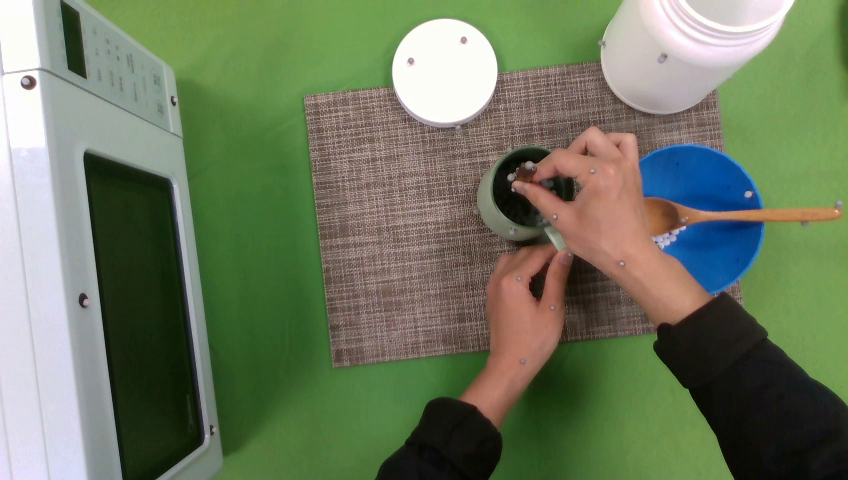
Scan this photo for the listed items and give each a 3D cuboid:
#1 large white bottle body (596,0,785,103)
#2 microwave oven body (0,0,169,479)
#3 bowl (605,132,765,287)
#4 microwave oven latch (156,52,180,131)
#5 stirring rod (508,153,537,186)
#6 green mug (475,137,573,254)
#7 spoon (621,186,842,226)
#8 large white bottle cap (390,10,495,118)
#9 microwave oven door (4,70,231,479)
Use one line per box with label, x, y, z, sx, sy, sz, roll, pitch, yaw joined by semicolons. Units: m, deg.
large white bottle body;0.247;-0.218;0.570;0.130;0.185;0.130;0;85;1
microwave oven body;-0.403;0.040;0.540;0.326;0.260;0.441;-8;90;0
bowl;0.253;-0.029;0.621;0.151;0.077;0.151;0;89;1
microwave oven latch;-0.279;-0.154;0.637;0.030;0.029;0.079;-9;90;0
stirring rod;0.088;-0.063;0.558;0.014;0.176;0.006;19;91;5
green mug;0.109;-0.041;0.611;0.092;0.105;0.125;-34;89;0
spoon;0.295;-0.035;0.592;0.193;0.022;0.041;0;93;25
large white bottle cap;0.020;-0.190;0.656;0.115;0.018;0.114;0;88;1
microwave oven door;-0.252;0.060;0.533;0.039;0.244;0.355;-9;89;1
